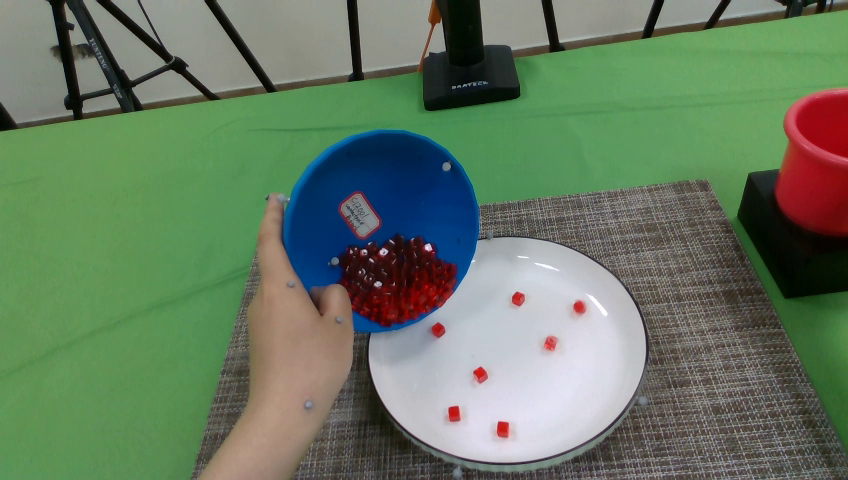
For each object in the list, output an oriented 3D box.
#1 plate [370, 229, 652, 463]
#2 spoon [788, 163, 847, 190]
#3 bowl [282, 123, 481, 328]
[{"bbox_3d":[0.064,0.076,0.466,0.207,0.039,0.205,-6,45,6],"label":"plate"},{"bbox_3d":[0.311,-0.056,0.394,0.041,0.194,0.021,-24,86,-5],"label":"spoon"},{"bbox_3d":[-0.041,-0.017,0.464,0.151,0.152,0.076,-28,25,-17],"label":"bowl"}]
